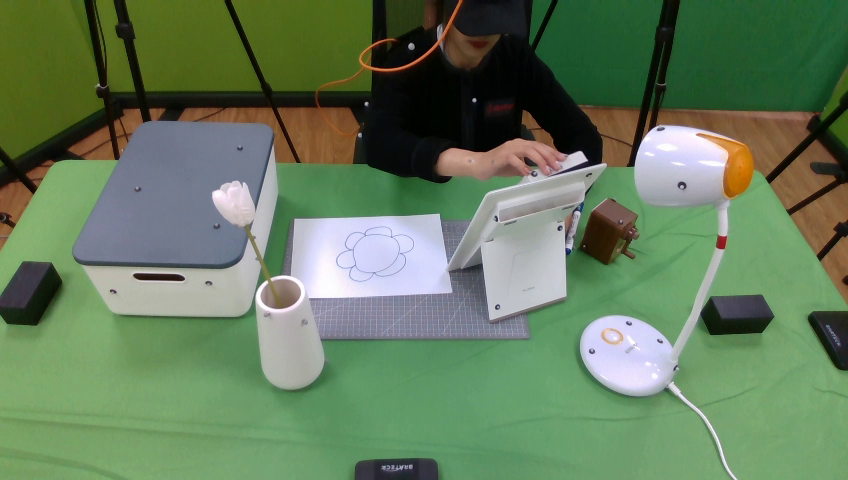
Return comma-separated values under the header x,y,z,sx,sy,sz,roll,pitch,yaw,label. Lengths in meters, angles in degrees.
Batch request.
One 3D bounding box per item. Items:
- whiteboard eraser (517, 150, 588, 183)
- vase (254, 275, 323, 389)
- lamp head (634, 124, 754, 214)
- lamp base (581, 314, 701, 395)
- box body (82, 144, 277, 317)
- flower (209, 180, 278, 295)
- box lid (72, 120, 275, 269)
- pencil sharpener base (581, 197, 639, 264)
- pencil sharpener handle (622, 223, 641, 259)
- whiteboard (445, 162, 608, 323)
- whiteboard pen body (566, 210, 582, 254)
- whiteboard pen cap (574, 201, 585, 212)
x,y,z,sx,sy,sz,roll,pitch,yaw,label
0.212,-0.106,0.992,0.113,0.055,0.041,-22,81,-16,whiteboard eraser
-0.209,0.143,0.921,0.098,0.201,0.097,1,46,-1,vase
0.351,-0.089,0.776,0.112,0.113,0.122,-30,30,-28,lamp head
0.361,0.145,0.973,0.178,0.181,0.160,34,53,23,lamp base
-0.421,-0.041,1.108,0.254,0.161,0.361,2,46,-3,box body
-0.216,0.075,0.871,0.044,0.363,0.038,-29,36,-19,flower
-0.417,-0.094,1.056,0.263,0.015,0.369,1,47,-3,box lid
0.362,-0.017,1.179,0.076,0.107,0.061,37,54,27,pencil sharpener base
0.397,0.003,1.146,0.030,0.068,0.036,37,46,27,pencil sharpener handle
0.186,0.025,1.029,0.217,0.306,0.143,-14,68,-17,whiteboard
0.309,-0.025,1.241,0.017,0.017,0.140,17,51,12,whiteboard pen body
0.327,-0.069,1.278,0.018,0.018,0.033,18,52,13,whiteboard pen cap
